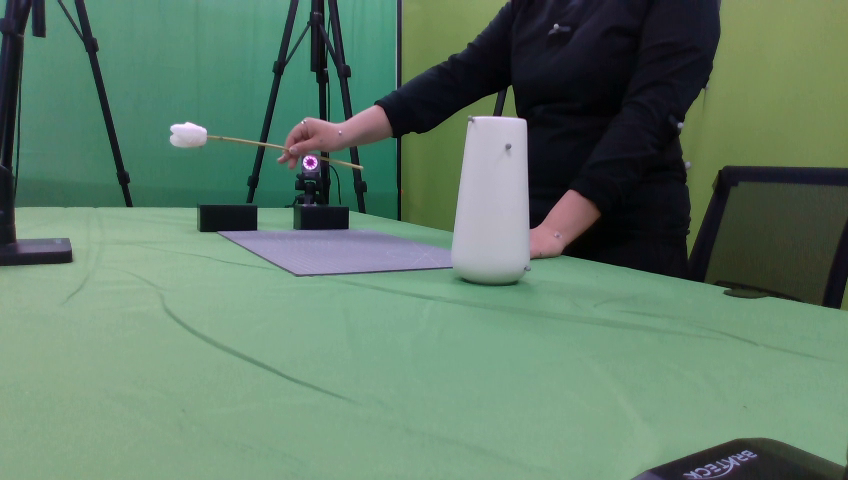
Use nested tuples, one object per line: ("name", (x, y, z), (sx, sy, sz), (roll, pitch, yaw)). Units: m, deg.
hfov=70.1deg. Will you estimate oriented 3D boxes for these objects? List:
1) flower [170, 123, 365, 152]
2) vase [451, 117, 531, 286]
("flower", (-0.276, -0.177, 1.119), (0.364, 0.038, 0.044), (0, -31, -31))
("vase", (0.083, -0.047, 0.737), (0.098, 0.200, 0.098), (1, 6, 0))
